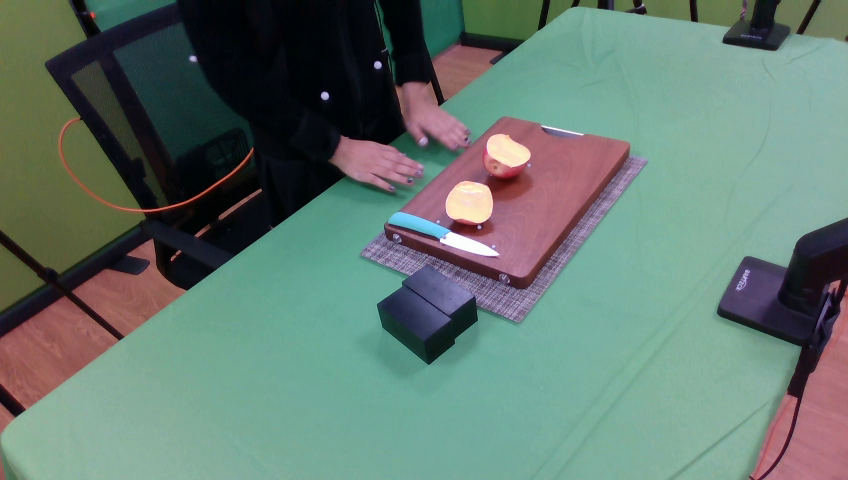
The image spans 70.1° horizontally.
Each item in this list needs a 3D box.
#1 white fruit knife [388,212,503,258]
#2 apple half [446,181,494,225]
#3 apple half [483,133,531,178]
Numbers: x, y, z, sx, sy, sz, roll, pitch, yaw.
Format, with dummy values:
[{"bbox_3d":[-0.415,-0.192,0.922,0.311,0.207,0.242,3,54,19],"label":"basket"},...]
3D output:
[{"bbox_3d":[0.032,-0.008,0.950,0.206,0.016,0.027,20,77,28],"label":"white fruit knife"},{"bbox_3d":[0.076,-0.056,0.976,0.081,0.033,0.081,-3,66,7],"label":"apple half"},{"bbox_3d":[0.138,-0.139,1.050,0.080,0.053,0.075,30,47,8],"label":"apple half"}]
